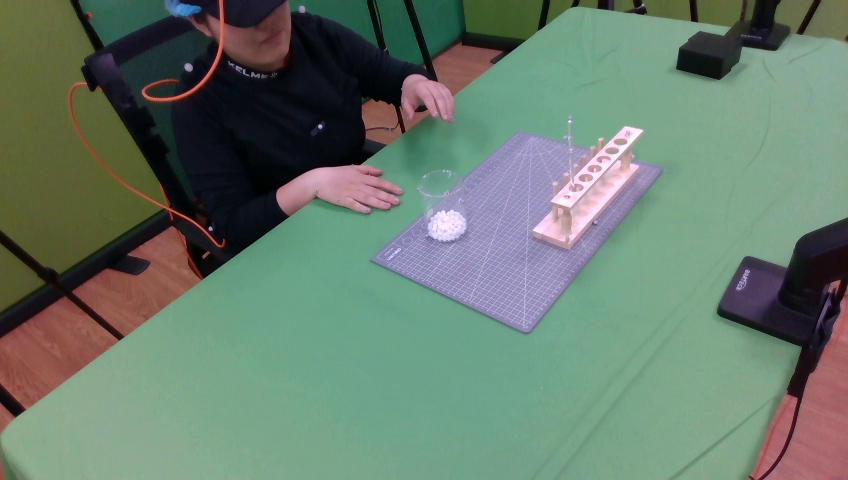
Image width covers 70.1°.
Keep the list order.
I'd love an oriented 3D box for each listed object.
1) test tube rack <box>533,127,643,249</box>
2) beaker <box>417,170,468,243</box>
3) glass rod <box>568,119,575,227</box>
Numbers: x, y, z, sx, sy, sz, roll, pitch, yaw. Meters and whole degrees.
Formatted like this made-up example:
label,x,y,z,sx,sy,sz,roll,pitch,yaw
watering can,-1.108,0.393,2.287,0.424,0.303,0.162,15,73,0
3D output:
label,x,y,z,sx,sy,sz,roll,pitch,yaw
test tube rack,0.271,-0.094,0.990,0.066,0.085,0.243,23,50,33
beaker,0.034,-0.054,0.976,0.073,0.101,0.084,9,42,20
glass rod,0.218,-0.093,0.894,0.008,0.201,0.008,-8,43,8
